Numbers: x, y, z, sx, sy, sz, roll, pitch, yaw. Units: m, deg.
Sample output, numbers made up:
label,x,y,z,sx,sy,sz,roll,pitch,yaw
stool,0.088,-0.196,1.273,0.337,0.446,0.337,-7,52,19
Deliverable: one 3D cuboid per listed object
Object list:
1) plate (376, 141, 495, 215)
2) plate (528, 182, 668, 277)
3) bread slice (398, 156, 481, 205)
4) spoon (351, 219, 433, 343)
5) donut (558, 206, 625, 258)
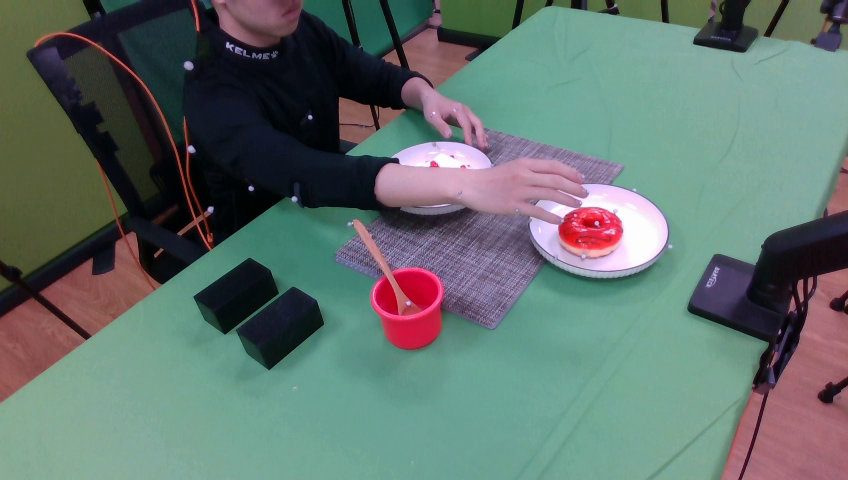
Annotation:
label,x,y,z,sx,sy,sz,roll,pitch,yaw
plate,0.022,-0.106,1.073,0.209,0.038,0.208,-4,40,4
plate,0.264,-0.014,0.933,0.207,0.039,0.206,-3,42,3
bread slice,0.021,-0.106,1.078,0.132,0.019,0.104,-31,45,-29
spoon,-0.045,0.054,0.820,0.042,0.021,0.193,-28,89,-21
donut,0.254,-0.014,0.917,0.099,0.048,0.098,-5,41,5
